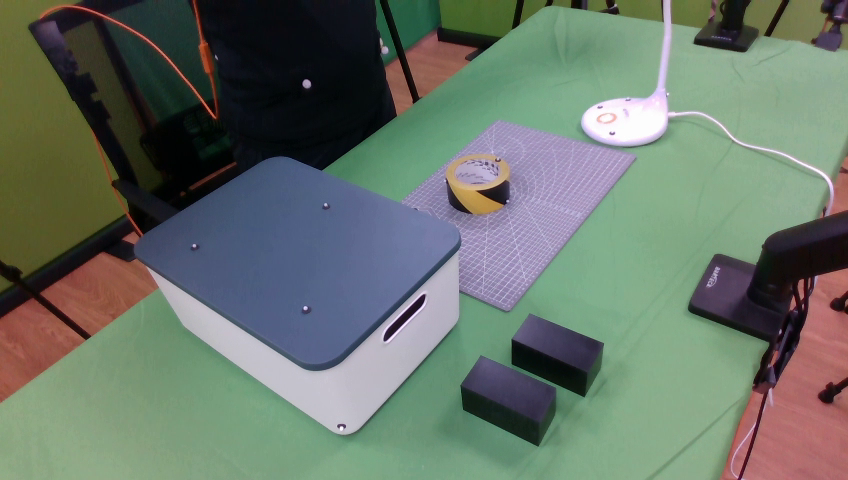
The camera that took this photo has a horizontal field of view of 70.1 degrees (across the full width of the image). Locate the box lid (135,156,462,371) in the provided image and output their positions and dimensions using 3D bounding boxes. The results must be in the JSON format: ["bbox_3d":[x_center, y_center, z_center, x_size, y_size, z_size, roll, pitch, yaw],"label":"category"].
[{"bbox_3d":[-0.162,0.004,0.765,0.368,0.015,0.264,23,49,31],"label":"box lid"}]

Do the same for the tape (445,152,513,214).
[{"bbox_3d":[0.095,-0.099,1.042,0.117,0.053,0.116,-4,41,4],"label":"tape"}]

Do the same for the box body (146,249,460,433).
[{"bbox_3d":[-0.156,0.059,0.815,0.361,0.161,0.255,24,49,31],"label":"box body"}]

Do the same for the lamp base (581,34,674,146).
[{"bbox_3d":[0.392,-0.291,1.129,0.180,0.181,0.159,-11,41,-8],"label":"lamp base"}]
